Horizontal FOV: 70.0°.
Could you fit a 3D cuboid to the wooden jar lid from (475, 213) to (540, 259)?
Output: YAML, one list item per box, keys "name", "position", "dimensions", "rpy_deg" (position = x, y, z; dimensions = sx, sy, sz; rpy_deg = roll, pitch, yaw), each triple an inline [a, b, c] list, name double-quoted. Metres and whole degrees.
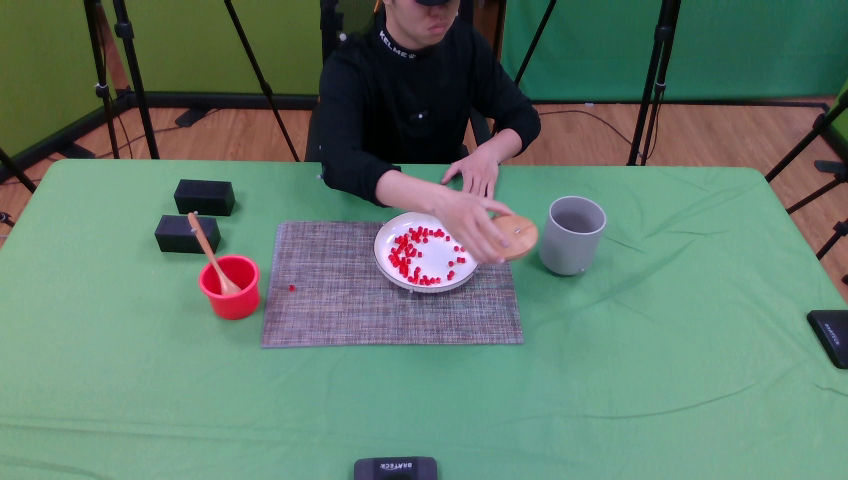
- name: "wooden jar lid"
  position: [0.140, -0.005, 1.014]
  dimensions: [0.108, 0.021, 0.107]
  rpy_deg: [-9, 39, 7]

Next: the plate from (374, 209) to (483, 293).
- name: "plate"
  position: [0.008, 0.024, 1.158]
  dimensions: [0.208, 0.039, 0.206]
  rpy_deg: [2, 46, -2]

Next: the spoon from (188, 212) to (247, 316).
- name: "spoon"
  position: [-0.358, 0.042, 1.036]
  dimensions: [0.041, 0.021, 0.194]
  rpy_deg: [-28, 93, -22]

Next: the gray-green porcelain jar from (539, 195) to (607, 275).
- name: "gray-green porcelain jar"
  position: [0.278, -0.004, 1.148]
  dimensions: [0.106, 0.127, 0.105]
  rpy_deg: [2, 46, -2]
